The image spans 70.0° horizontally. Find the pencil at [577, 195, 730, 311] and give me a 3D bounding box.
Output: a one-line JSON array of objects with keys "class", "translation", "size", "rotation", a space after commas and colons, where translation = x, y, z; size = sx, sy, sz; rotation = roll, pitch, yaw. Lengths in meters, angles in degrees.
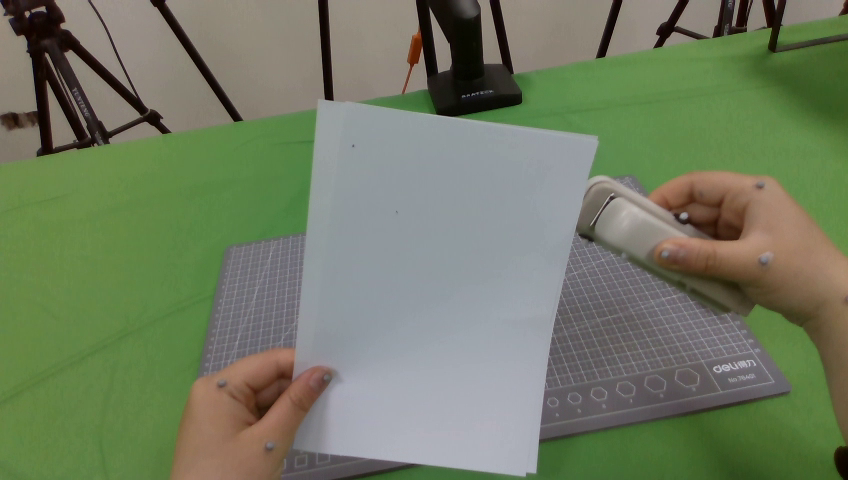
[{"class": "pencil", "translation": [0.205, 0.007, 0.561], "size": [0.012, 0.012, 0.192], "rotation": [-23, 41, -16]}]

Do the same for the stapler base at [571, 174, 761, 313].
[{"class": "stapler base", "translation": [0.156, 0.005, 0.384], "size": [0.131, 0.041, 0.024], "rotation": [29, 14, -10]}]

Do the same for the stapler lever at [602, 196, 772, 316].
[{"class": "stapler lever", "translation": [0.158, 0.011, 0.360], "size": [0.118, 0.027, 0.040], "rotation": [29, 14, -9]}]
